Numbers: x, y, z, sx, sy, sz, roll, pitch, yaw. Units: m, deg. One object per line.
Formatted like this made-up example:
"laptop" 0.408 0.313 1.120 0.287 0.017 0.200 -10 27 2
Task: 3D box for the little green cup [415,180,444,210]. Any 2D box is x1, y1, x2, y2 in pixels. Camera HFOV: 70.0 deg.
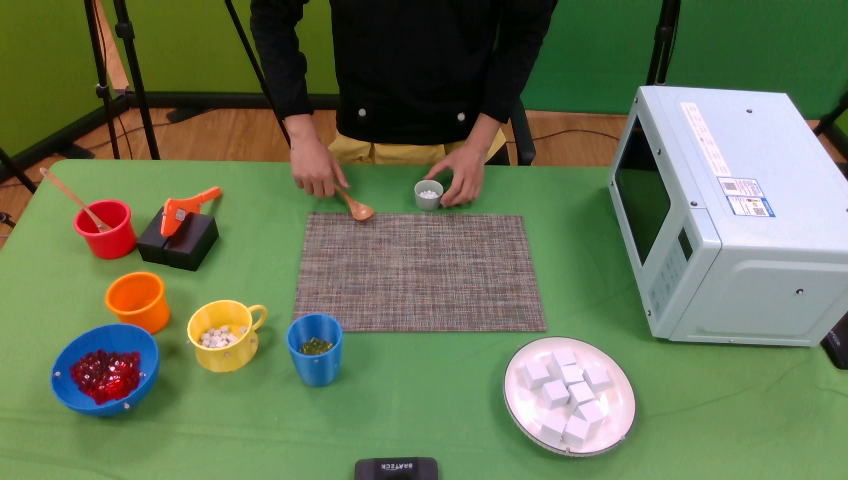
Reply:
"little green cup" 0.011 -0.093 1.277 0.061 0.039 0.061 2 50 -2

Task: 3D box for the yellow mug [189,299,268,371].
"yellow mug" -0.316 0.148 1.002 0.131 0.064 0.099 -33 56 -31

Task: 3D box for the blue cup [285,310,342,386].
"blue cup" -0.170 0.179 0.958 0.093 0.101 0.092 2 44 -1

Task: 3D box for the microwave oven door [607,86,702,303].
"microwave oven door" 0.423 -0.094 1.141 0.039 0.245 0.353 2 46 -1

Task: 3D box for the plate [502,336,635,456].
"plate" 0.225 0.248 0.963 0.208 0.039 0.206 2 46 -2

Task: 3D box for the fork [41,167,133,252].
"fork" -0.624 -0.055 1.121 0.208 0.018 0.028 49 52 -15

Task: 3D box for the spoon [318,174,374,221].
"spoon" -0.167 -0.095 1.274 0.041 0.022 0.192 -39 57 -14

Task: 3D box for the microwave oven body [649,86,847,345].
"microwave oven body" 0.568 -0.053 1.118 0.326 0.261 0.439 2 45 -1

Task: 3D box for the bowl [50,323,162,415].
"bowl" -0.472 0.209 0.924 0.151 0.077 0.150 3 45 -2

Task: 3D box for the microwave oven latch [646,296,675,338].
"microwave oven latch" 0.412 0.134 1.061 0.030 0.029 0.078 3 45 0

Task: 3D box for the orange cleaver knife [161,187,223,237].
"orange cleaver knife" -0.448 -0.058 1.181 0.012 0.077 0.211 13 17 6
